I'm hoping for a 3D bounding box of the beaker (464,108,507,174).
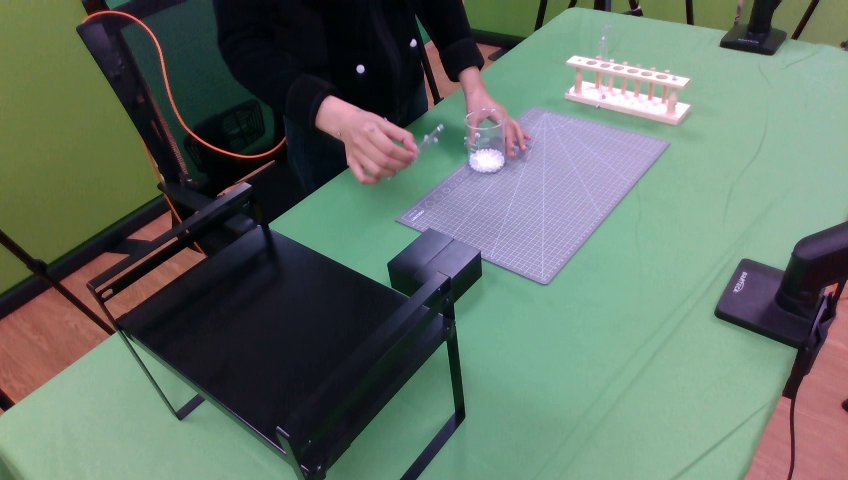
[{"bbox_3d":[0.112,-0.179,1.106,0.083,0.101,0.074,19,47,29],"label":"beaker"}]

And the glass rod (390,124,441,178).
[{"bbox_3d":[-0.015,-0.124,0.875,0.008,0.199,0.008,6,74,-21],"label":"glass rod"}]

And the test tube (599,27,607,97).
[{"bbox_3d":[0.358,-0.353,1.211,0.017,0.151,0.017,-8,43,8],"label":"test tube"}]

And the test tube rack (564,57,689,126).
[{"bbox_3d":[0.411,-0.311,1.230,0.240,0.085,0.067,23,49,32],"label":"test tube rack"}]
